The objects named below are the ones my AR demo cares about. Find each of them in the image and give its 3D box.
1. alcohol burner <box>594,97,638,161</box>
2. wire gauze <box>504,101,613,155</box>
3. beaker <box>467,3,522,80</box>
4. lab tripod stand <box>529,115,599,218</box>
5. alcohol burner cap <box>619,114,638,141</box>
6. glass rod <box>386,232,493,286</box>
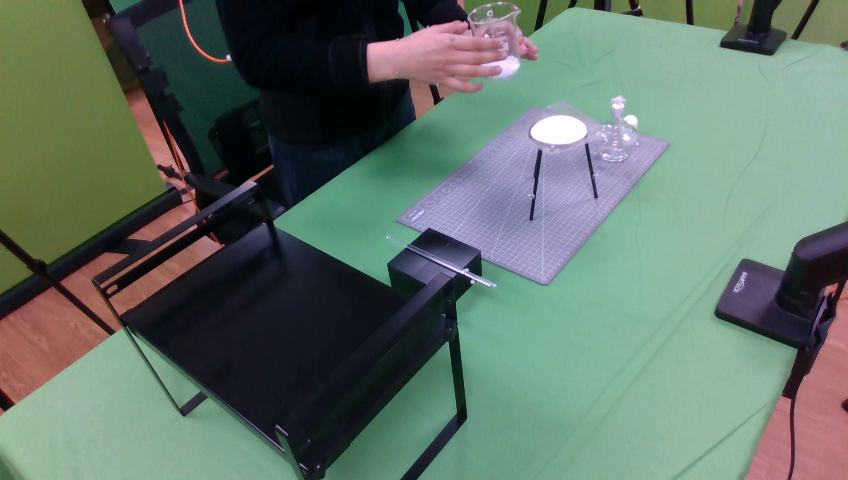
[{"bbox_3d":[0.345,-0.203,1.083,0.078,0.119,0.077,-5,42,5],"label":"alcohol burner"},{"bbox_3d":[0.211,-0.177,0.955,0.125,0.011,0.120,-24,44,-18],"label":"wire gauze"},{"bbox_3d":[0.118,-0.316,0.964,0.084,0.101,0.073,-6,41,12],"label":"beaker"},{"bbox_3d":[0.217,-0.124,0.996,0.148,0.132,0.147,-4,42,4],"label":"lab tripod stand"},{"bbox_3d":[0.388,-0.214,1.145,0.034,0.048,0.033,-2,39,2],"label":"alcohol burner cap"},{"bbox_3d":[0.018,0.026,0.878,0.198,0.008,0.008,25,50,33],"label":"glass rod"}]
